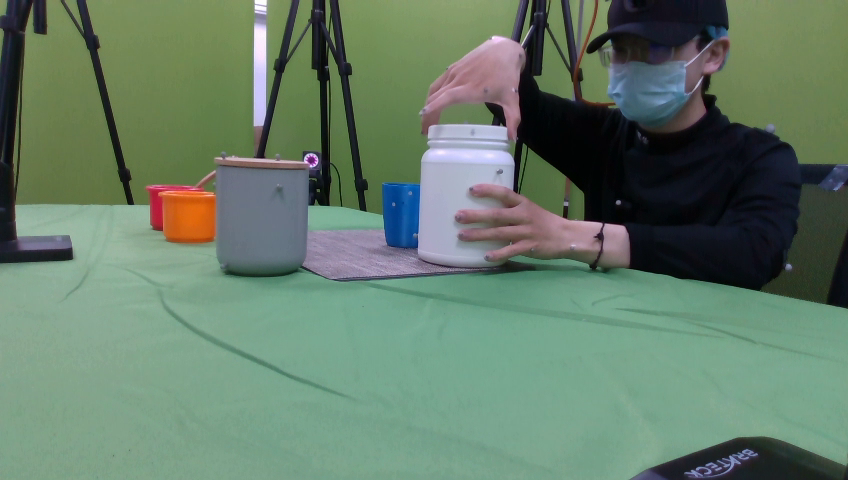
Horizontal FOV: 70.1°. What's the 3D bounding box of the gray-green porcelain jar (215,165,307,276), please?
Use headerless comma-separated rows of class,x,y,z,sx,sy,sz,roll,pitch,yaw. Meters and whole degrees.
gray-green porcelain jar,-0.195,-0.024,0.727,0.106,0.126,0.106,3,7,0

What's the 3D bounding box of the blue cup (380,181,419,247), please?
blue cup,-0.029,-0.042,0.980,0.093,0.100,0.092,1,9,0

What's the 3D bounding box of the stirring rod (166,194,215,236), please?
stirring rod,-0.341,-0.066,0.967,0.176,0.006,0.014,-42,23,-9

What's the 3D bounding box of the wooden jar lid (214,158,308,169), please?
wooden jar lid,-0.193,-0.085,0.719,0.108,0.020,0.108,2,9,0

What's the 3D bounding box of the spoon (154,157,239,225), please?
spoon,-0.412,-0.092,1.105,0.041,0.022,0.194,13,56,51

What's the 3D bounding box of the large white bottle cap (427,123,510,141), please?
large white bottle cap,0.061,-0.147,0.831,0.115,0.018,0.115,2,7,0

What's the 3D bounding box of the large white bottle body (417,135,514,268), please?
large white bottle body,0.058,-0.062,0.841,0.131,0.184,0.130,2,8,0
